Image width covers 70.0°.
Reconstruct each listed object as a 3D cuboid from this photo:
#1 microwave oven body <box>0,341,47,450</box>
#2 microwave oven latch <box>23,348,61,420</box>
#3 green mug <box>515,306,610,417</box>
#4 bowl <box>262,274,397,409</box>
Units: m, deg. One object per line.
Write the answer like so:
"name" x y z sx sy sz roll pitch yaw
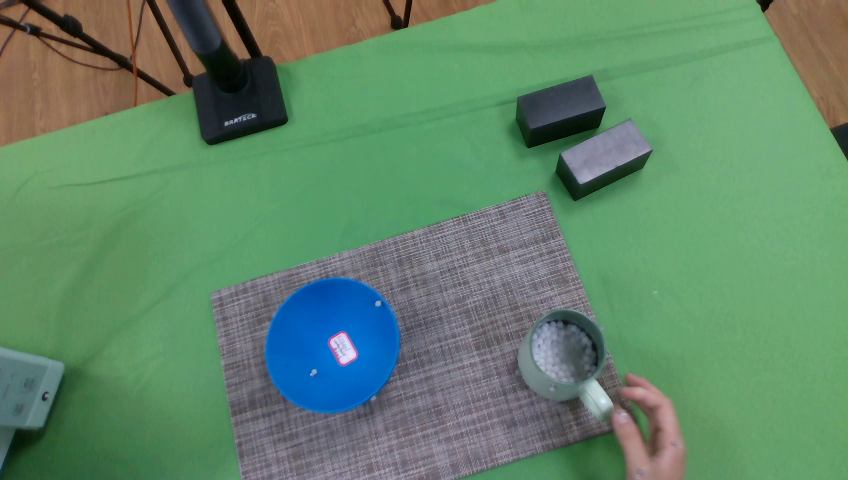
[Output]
"microwave oven body" -0.653 0.278 0.597 0.325 0.262 0.439 10 73 8
"microwave oven latch" -0.462 0.171 0.720 0.030 0.030 0.079 12 73 9
"green mug" 0.156 0.135 0.656 0.092 0.105 0.124 -33 71 -7
"bowl" -0.100 0.121 0.698 0.151 0.077 0.150 -2 71 5
